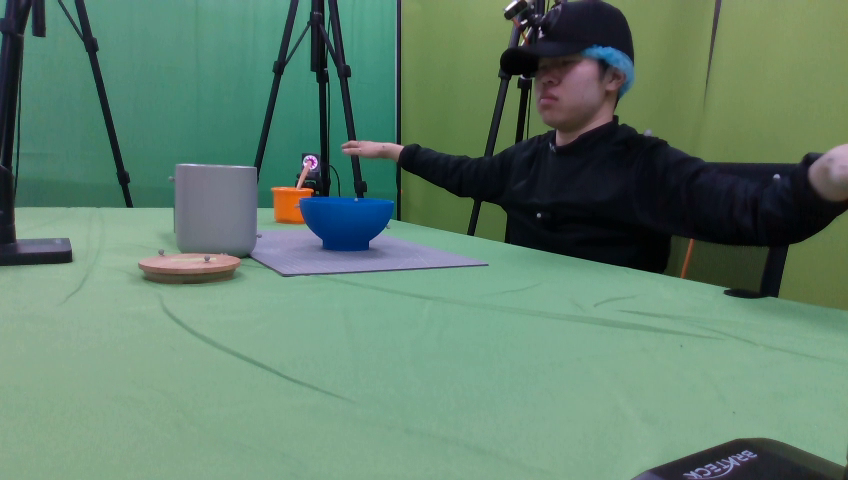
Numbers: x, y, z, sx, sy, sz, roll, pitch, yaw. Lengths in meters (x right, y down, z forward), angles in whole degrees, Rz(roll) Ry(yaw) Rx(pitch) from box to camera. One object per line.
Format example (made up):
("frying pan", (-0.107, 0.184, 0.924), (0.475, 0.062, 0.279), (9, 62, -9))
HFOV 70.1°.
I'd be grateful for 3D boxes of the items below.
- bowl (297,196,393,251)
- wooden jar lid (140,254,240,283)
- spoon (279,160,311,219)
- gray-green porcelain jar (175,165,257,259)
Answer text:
("bowl", (-0.125, -0.026, 0.958), (0.151, 0.077, 0.151), (2, 7, 0))
("wooden jar lid", (-0.269, 0.033, 0.698), (0.108, 0.020, 0.108), (2, 5, 0))
("spoon", (-0.285, -0.117, 1.371), (0.041, 0.193, 0.022), (4, -37, 10))
("gray-green porcelain jar", (-0.286, -0.039, 0.837), (0.106, 0.126, 0.106), (2, 7, 0))
